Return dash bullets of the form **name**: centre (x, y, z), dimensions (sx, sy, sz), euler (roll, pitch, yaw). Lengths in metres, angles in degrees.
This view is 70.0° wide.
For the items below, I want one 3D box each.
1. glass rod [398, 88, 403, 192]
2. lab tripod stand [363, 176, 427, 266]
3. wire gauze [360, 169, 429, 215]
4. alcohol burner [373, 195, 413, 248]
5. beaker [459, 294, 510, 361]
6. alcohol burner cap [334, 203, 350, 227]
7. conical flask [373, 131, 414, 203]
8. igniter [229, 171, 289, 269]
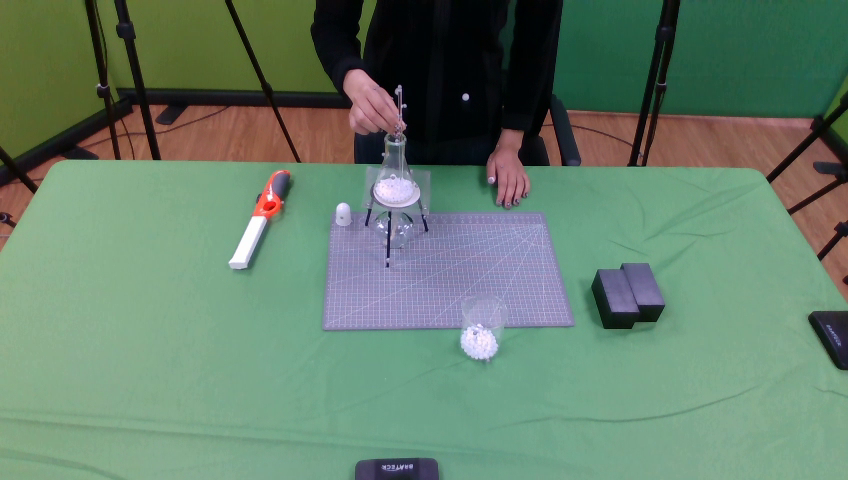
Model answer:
- **glass rod**: centre (-0.040, -0.165, 1.032), dimensions (0.008, 0.201, 0.008), euler (0, 39, 0)
- **lab tripod stand**: centre (-0.058, -0.047, 1.159), dimensions (0.148, 0.132, 0.147), euler (3, 44, -2)
- **wire gauze**: centre (-0.052, -0.092, 1.111), dimensions (0.125, 0.011, 0.120), euler (3, 43, 1)
- **alcohol burner**: centre (-0.059, -0.041, 1.167), dimensions (0.078, 0.119, 0.077), euler (4, 46, -4)
- **beaker**: centre (0.095, 0.147, 1.012), dimensions (0.083, 0.101, 0.074), euler (26, 49, 21)
- **alcohol burner cap**: centre (-0.166, -0.054, 1.221), dimensions (0.034, 0.048, 0.033), euler (2, 46, -2)
- **conical flask**: centre (-0.053, -0.131, 1.067), dimensions (0.075, 0.122, 0.075), euler (2, 44, -2)
- **igniter**: centre (-0.328, -0.049, 1.218), dimensions (0.057, 0.025, 0.275), euler (1, 45, 11)
